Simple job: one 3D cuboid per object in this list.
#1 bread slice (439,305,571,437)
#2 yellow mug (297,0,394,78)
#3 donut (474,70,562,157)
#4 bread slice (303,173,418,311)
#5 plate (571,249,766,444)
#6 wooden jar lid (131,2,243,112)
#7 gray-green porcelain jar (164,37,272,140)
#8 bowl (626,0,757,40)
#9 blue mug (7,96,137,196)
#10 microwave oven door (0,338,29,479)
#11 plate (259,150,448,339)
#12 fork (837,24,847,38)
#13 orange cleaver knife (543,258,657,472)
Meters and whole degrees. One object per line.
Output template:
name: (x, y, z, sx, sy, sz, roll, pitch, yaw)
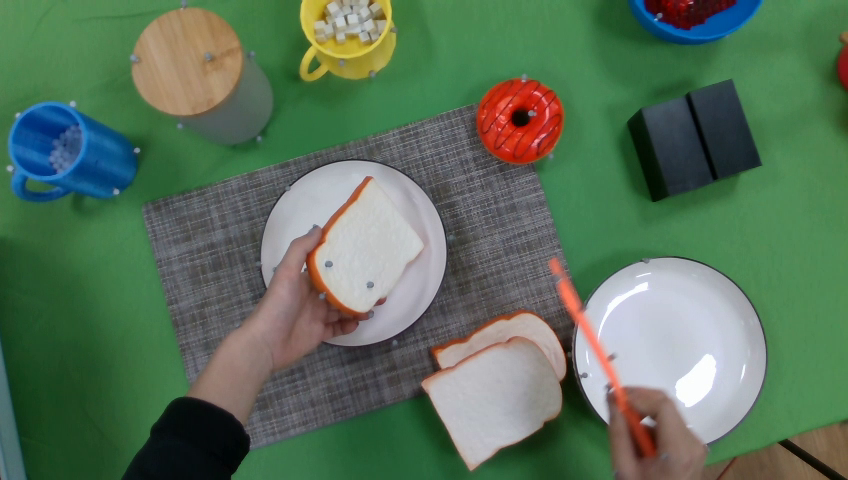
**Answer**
bread slice: (0.095, 0.129, 0.636, 0.134, 0.018, 0.106, -23, 82, -29)
yellow mug: (-0.096, -0.236, 0.685, 0.100, 0.064, 0.131, 41, 88, 4)
donut: (0.105, -0.142, 0.681, 0.099, 0.048, 0.099, 0, 87, 1)
bread slice: (-0.063, 0.008, 0.628, 0.106, 0.019, 0.131, 52, 50, -24)
plate: (0.264, 0.115, 0.667, 0.209, 0.038, 0.208, 0, 86, 2)
wooden jar lid: (-0.229, -0.175, 0.590, 0.108, 0.021, 0.108, 0, 84, 2)
gray-green porcelain jar: (-0.227, -0.170, 0.652, 0.106, 0.126, 0.105, 0, 85, 1)
bowl: (0.287, -0.286, 0.675, 0.151, 0.077, 0.151, 0, 86, 1)
blue mug: (-0.390, -0.089, 0.659, 0.116, 0.106, 0.082, -43, 85, -2)
microwave oven door: (-0.462, 0.220, 0.552, 0.039, 0.244, 0.355, -14, 85, 0)
plate: (-0.076, 0.006, 0.677, 0.208, 0.039, 0.207, 0, 86, 1)
fork: (0.471, -0.207, 0.632, 0.208, 0.018, 0.028, -7, 85, -41)
orange cleaver knife: (0.157, 0.111, 0.544, 0.012, 0.077, 0.212, -27, 103, 13)
